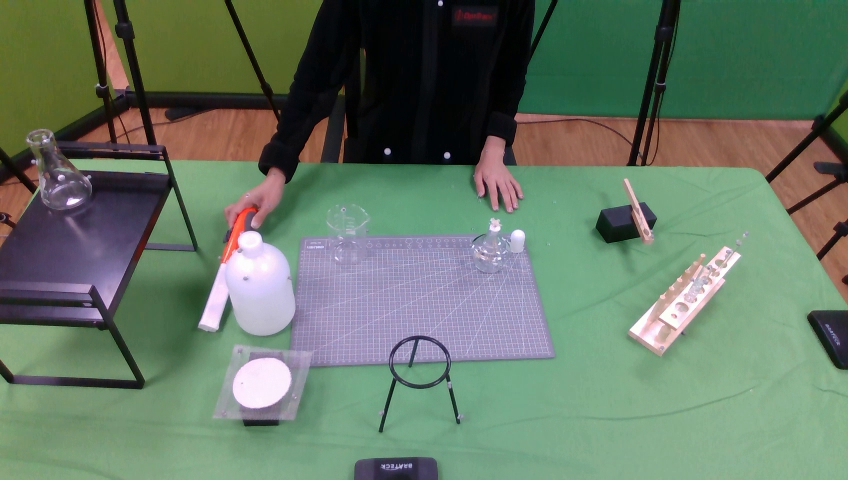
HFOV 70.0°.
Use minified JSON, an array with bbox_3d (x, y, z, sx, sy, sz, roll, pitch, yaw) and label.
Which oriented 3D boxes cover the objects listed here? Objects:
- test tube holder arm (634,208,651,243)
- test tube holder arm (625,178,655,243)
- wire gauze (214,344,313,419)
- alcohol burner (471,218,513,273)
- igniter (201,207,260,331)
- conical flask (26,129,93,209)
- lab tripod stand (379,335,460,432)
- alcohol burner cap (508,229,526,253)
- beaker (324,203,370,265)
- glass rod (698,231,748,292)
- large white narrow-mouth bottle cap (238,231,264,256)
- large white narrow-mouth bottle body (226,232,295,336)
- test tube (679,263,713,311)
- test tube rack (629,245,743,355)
[{"bbox_3d":[0.428,-0.030,1.189,0.010,0.015,0.087,1,47,-2],"label":"test tube holder arm"},{"bbox_3d":[0.433,-0.062,1.220,0.013,0.015,0.177,0,47,-3],"label":"test tube holder arm"},{"bbox_3d":[-0.241,0.213,0.915,0.121,0.011,0.124,5,46,1],"label":"wire gauze"},{"bbox_3d":[0.128,0.005,1.132,0.078,0.120,0.077,0,47,0],"label":"alcohol burner"},{"bbox_3d":[-0.350,0.042,1.108,0.057,0.025,0.275,26,47,-24],"label":"igniter"},{"bbox_3d":[-0.575,-0.113,0.946,0.075,0.122,0.075,2,46,-2],"label":"conical flask"},{"bbox_3d":[-0.011,0.214,0.911,0.148,0.132,0.147,1,45,0],"label":"lab tripod stand"},{"bbox_3d":[0.185,-0.002,1.192,0.034,0.048,0.033,3,44,-2],"label":"alcohol burner cap"},{"bbox_3d":[-0.142,-0.009,1.137,0.084,0.101,0.073,-3,47,-7],"label":"beaker"},{"bbox_3d":[0.514,0.044,1.051,0.008,0.200,0.008,1,55,-1],"label":"glass rod"},{"bbox_3d":[-0.266,0.006,0.932,0.038,0.024,0.037,2,46,-2],"label":"large white narrow-mouth bottle cap"},{"bbox_3d":[-0.270,0.065,0.995,0.102,0.195,0.101,2,46,-2],"label":"large white narrow-mouth bottle body"},{"bbox_3d":[0.453,0.092,1.023,0.017,0.151,0.017,1,49,-1],"label":"test tube"},{"bbox_3d":[0.474,0.095,1.091,0.242,0.085,0.066,-34,56,-31],"label":"test tube rack"}]
